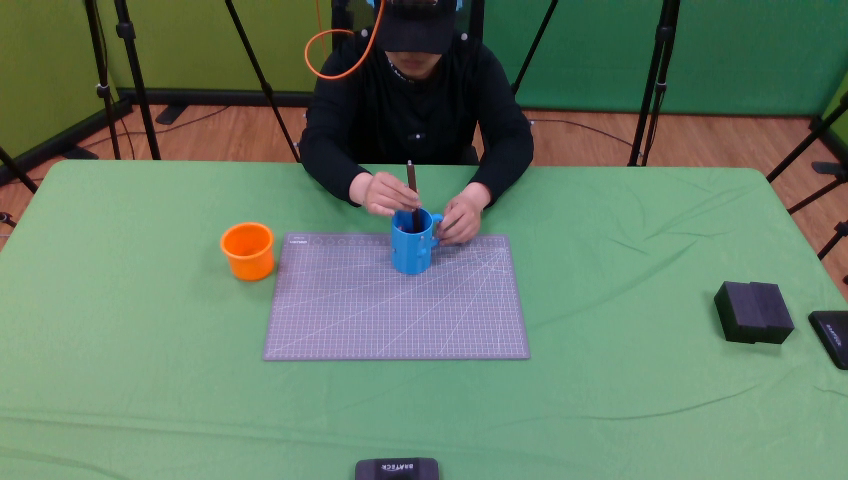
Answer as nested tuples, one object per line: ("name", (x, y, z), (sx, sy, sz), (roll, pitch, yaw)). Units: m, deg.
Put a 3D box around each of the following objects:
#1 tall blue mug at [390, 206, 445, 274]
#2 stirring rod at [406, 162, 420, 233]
("tall blue mug", (-0.016, -0.008, 1.142), (0.077, 0.108, 0.107), (23, 49, 19))
("stirring rod", (-0.019, -0.071, 1.082), (0.014, 0.177, 0.006), (8, 51, 11))
